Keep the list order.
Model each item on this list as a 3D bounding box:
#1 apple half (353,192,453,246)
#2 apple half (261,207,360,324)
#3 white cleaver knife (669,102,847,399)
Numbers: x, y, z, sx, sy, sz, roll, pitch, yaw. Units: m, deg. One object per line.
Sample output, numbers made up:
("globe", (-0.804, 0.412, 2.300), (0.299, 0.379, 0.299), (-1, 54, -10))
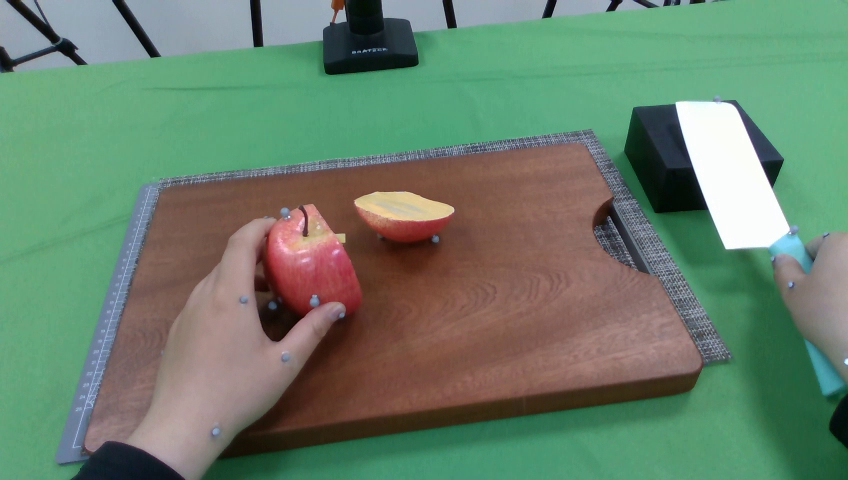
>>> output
("apple half", (-0.020, -0.012, 0.483), (0.081, 0.033, 0.081), (7, 21, -2))
("apple half", (-0.084, 0.024, 0.425), (0.053, 0.075, 0.080), (-27, 51, -17))
("white cleaver knife", (0.261, -0.010, 0.484), (0.066, 0.022, 0.283), (-9, 54, 6))
